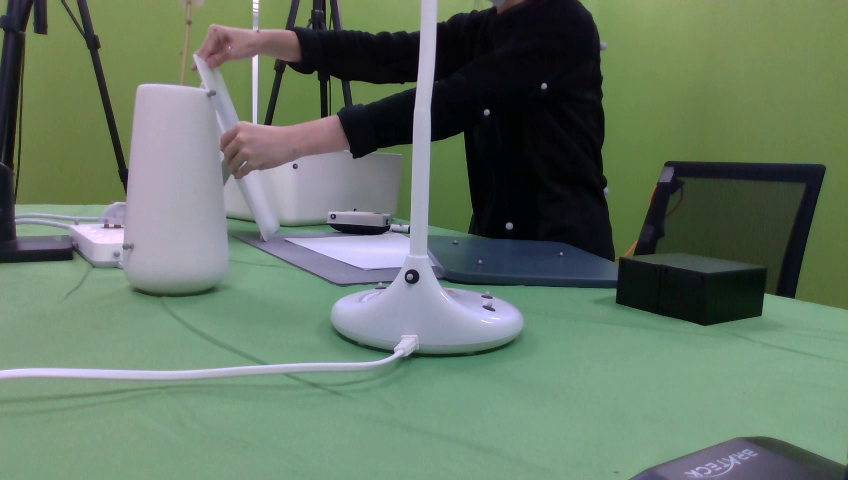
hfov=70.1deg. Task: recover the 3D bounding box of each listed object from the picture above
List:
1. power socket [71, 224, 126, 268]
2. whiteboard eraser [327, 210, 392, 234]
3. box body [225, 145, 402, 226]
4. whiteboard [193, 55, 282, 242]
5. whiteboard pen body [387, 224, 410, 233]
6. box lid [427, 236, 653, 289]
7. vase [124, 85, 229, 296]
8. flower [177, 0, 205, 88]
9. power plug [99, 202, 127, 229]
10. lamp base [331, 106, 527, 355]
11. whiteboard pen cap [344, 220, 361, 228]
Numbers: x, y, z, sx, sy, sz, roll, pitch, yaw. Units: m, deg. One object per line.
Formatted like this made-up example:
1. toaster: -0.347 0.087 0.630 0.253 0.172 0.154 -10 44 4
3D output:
1. power socket: -0.409 0.004 0.793 0.072 0.032 0.225 -2 8 -37
2. whiteboard eraser: -0.120 -0.033 1.131 0.112 0.042 0.056 4 8 13
3. box body: -0.254 -0.129 1.379 0.253 0.160 0.366 8 9 36
4. whiteboard: -0.372 -0.130 1.030 0.144 0.305 0.217 -19 10 -4
5. whiteboard pen body: -0.088 -0.026 1.213 0.140 0.017 0.017 5 8 17
6. box lid: 0.139 0.027 0.886 0.264 0.015 0.371 2 7 -6
7. vase: -0.244 -0.047 0.598 0.098 0.200 0.098 3 8 0
8. flower: -0.243 -0.131 0.609 0.044 0.361 0.038 -5 -12 12
9. power plug: -0.415 -0.026 0.848 0.073 0.052 0.035 6 5 -28
10. lamp base: 0.006 -0.012 0.478 0.161 0.180 0.179 2 10 2
11. whiteboard pen cap: -0.145 -0.032 1.230 0.033 0.018 0.018 6 8 17
